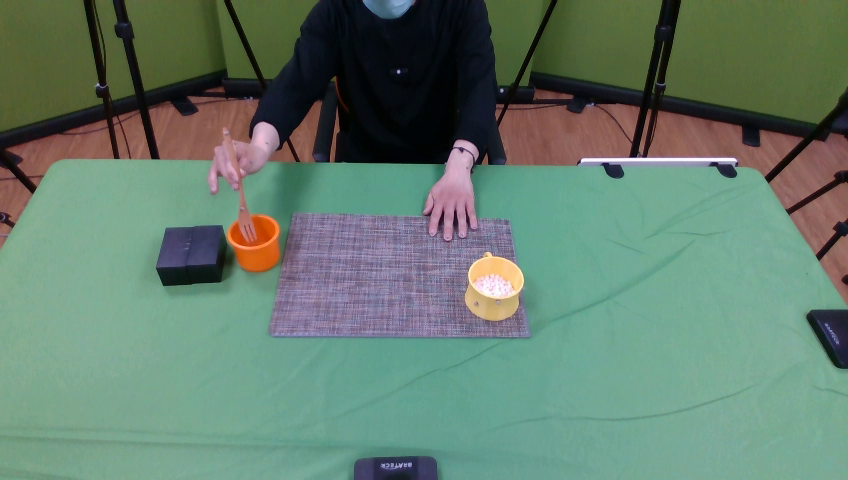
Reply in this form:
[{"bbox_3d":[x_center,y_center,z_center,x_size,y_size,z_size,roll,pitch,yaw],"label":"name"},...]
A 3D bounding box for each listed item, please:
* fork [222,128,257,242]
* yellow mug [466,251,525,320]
[{"bbox_3d":[-0.331,-0.096,1.081,0.018,0.208,0.028,7,21,40],"label":"fork"},{"bbox_3d":[0.125,0.074,1.096,0.100,0.064,0.130,-4,46,-7],"label":"yellow mug"}]
